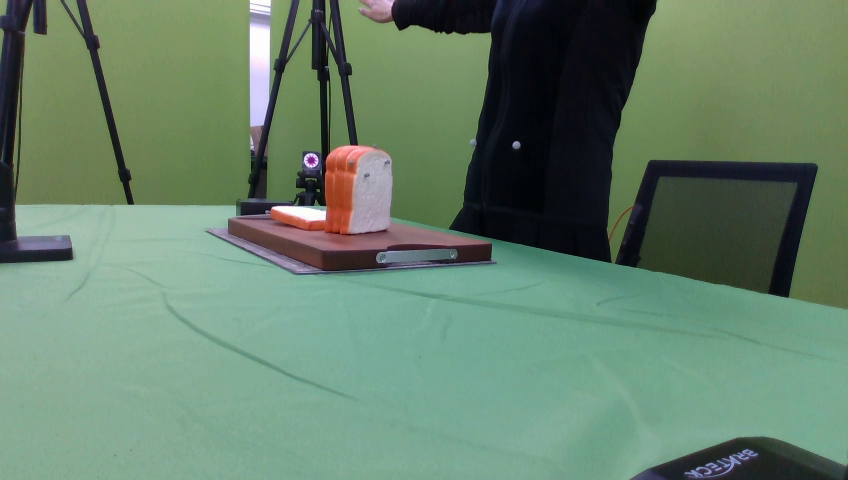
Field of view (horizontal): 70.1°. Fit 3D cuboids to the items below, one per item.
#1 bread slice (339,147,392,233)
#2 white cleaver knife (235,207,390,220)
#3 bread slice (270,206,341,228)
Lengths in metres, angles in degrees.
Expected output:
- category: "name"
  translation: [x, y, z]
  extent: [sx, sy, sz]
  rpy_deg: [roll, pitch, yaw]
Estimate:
- category: "bread slice"
  translation: [-0.085, -0.075, 0.917]
  extent: [0.019, 0.131, 0.105]
  rpy_deg: [13, 13, 32]
- category: "white cleaver knife"
  translation: [-0.199, -0.046, 1.109]
  extent: [0.288, 0.021, 0.065]
  rpy_deg: [-6, 6, -22]
- category: "bread slice"
  translation: [-0.188, -0.039, 1.002]
  extent: [0.133, 0.018, 0.107]
  rpy_deg: [15, 11, 43]
